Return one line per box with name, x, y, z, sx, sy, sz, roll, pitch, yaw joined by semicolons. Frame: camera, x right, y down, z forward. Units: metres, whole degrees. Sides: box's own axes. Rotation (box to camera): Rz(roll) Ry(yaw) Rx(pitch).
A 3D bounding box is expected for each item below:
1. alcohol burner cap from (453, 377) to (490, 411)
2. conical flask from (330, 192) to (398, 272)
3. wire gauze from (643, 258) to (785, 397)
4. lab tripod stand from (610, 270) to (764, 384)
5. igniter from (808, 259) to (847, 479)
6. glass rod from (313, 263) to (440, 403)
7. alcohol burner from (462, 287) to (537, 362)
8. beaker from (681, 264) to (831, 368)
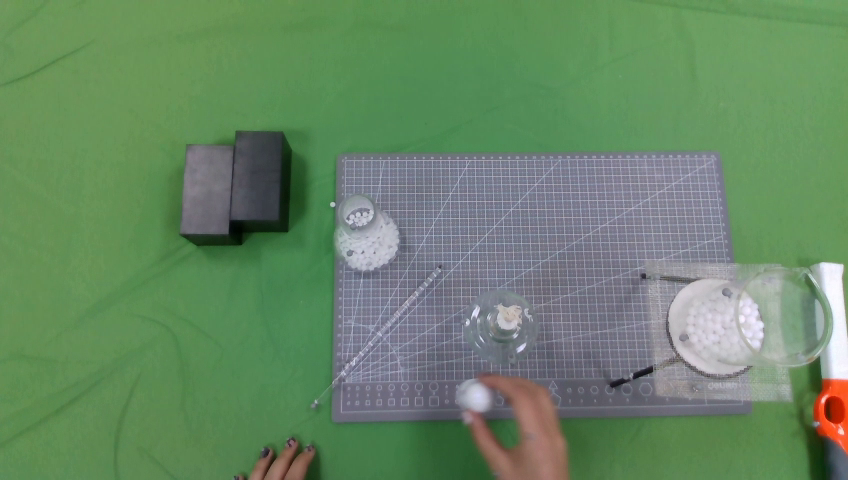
alcohol burner cap;0.048;0.149;0.585;0.034;0.048;0.033;1;79;-6
conical flask;-0.065;-0.014;0.621;0.075;0.122;0.075;0;77;-1
wire gauze;0.259;0.077;0.538;0.125;0.011;0.121;2;80;-3
lab tripod stand;0.257;0.093;0.602;0.148;0.132;0.147;0;79;-2
igniter;0.441;0.157;0.651;0.057;0.025;0.275;6;77;-11
glass rod;-0.049;0.098;0.654;0.008;0.008;0.199;41;79;7
alcohol burner;0.077;0.083;0.608;0.078;0.119;0.077;0;77;1
beaker;0.263;0.062;0.492;0.074;0.100;0.084;34;79;5
